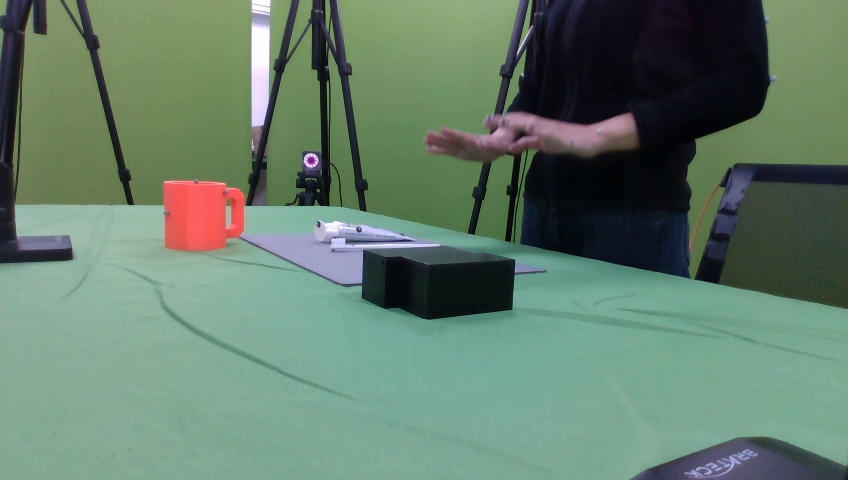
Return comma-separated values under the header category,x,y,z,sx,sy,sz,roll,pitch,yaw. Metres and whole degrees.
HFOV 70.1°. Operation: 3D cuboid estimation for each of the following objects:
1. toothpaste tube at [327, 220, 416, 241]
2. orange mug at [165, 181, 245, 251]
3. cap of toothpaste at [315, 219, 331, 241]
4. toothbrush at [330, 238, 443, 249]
category,x,y,z,sx,sy,sz,roll,pitch,yaw
toothpaste tube,-0.095,-0.012,1.026,0.166,0.034,0.055,2,13,-33
orange mug,-0.326,-0.040,0.911,0.083,0.101,0.127,8,14,37
cap of toothpaste,-0.165,-0.016,0.982,0.011,0.037,0.037,-8,12,-43
toothbrush,-0.054,0.006,0.927,0.183,0.016,0.014,1,-8,-23
